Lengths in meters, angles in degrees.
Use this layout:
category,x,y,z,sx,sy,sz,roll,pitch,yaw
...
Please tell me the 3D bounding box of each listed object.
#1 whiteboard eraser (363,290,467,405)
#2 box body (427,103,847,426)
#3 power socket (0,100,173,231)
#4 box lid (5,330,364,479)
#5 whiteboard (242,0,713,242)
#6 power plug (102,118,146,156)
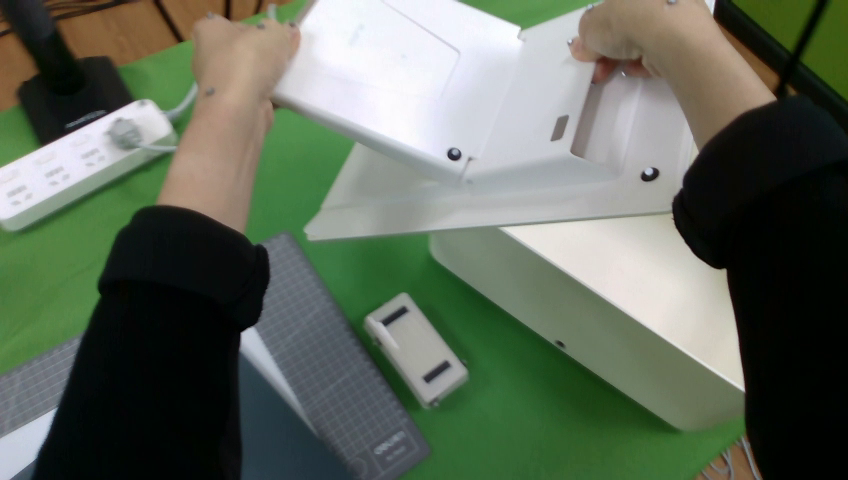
category,x,y,z,sx,sy,sz,roll,pitch,yaw
whiteboard eraser,-0.010,0.109,0.620,0.055,0.042,0.112,-32,68,-22
box body,0.207,-0.012,0.634,0.362,0.161,0.253,34,64,14
power socket,-0.402,-0.090,0.704,0.226,0.033,0.071,-35,70,-21
box lid,-0.180,0.275,0.531,0.369,0.015,0.263,42,66,16
whiteboard,0.020,-0.135,0.428,0.304,0.145,0.216,-4,50,37
power plug,-0.342,-0.108,0.693,0.035,0.053,0.072,-25,72,-17
